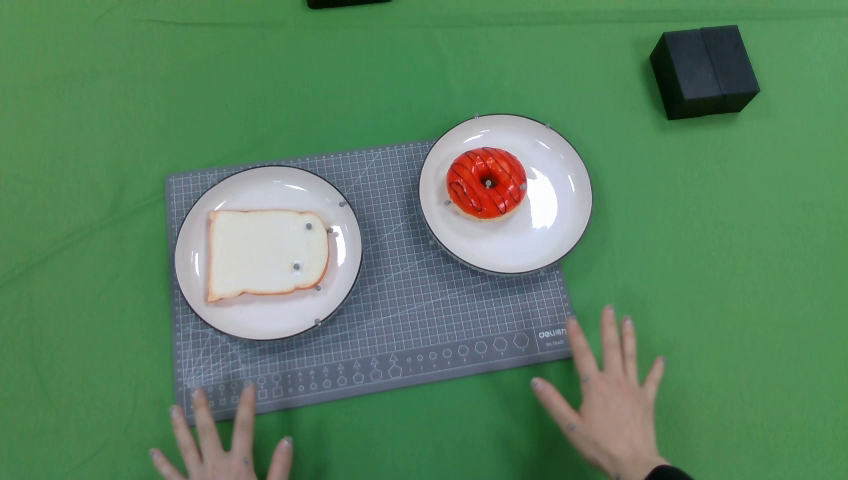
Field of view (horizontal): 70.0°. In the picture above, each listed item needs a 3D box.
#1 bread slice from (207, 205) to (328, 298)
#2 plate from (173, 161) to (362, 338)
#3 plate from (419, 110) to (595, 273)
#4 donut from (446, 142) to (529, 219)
[{"bbox_3d":[-0.178,0.008,0.692,0.134,0.018,0.106,-6,73,-5],"label":"bread slice"},{"bbox_3d":[-0.174,0.011,0.690,0.209,0.038,0.207,1,71,-3],"label":"plate"},{"bbox_3d":[0.097,-0.056,0.726,0.208,0.039,0.206,1,71,-2],"label":"plate"},{"bbox_3d":[0.075,-0.071,0.717,0.099,0.048,0.098,0,68,0],"label":"donut"}]
